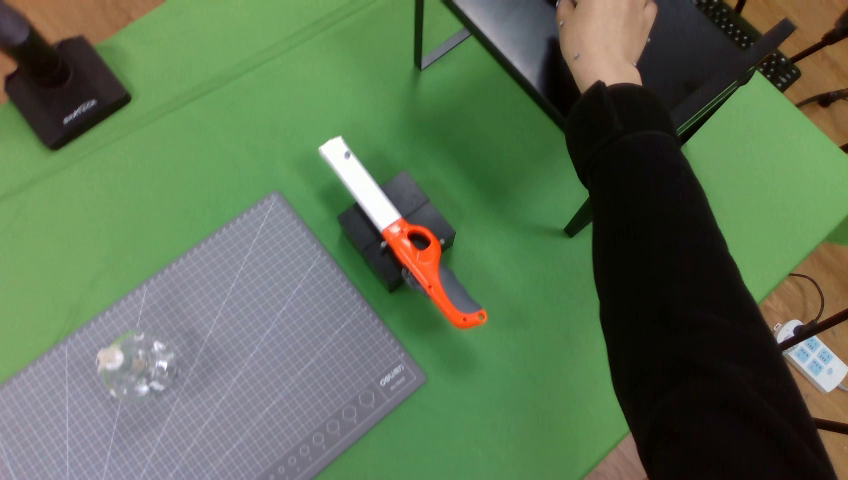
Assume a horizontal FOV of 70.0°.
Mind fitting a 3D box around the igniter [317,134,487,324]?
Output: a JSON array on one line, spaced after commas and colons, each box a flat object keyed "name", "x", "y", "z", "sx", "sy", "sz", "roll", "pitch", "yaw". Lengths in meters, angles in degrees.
[{"name": "igniter", "x": -0.029, "y": -0.013, "z": 0.684, "sx": 0.057, "sy": 0.025, "sz": 0.275, "roll": -36, "pitch": 76, "yaw": -14}]

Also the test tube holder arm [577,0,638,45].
[{"name": "test tube holder arm", "x": 0.149, "y": -0.258, "z": 0.625, "sx": 0.178, "sy": 0.015, "sz": 0.013, "roll": 39, "pitch": 114, "yaw": 7}]

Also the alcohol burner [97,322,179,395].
[{"name": "alcohol burner", "x": -0.305, "y": 0.123, "z": 0.636, "sx": 0.078, "sy": 0.119, "sz": 0.077, "roll": 0, "pitch": 76, "yaw": -1}]
